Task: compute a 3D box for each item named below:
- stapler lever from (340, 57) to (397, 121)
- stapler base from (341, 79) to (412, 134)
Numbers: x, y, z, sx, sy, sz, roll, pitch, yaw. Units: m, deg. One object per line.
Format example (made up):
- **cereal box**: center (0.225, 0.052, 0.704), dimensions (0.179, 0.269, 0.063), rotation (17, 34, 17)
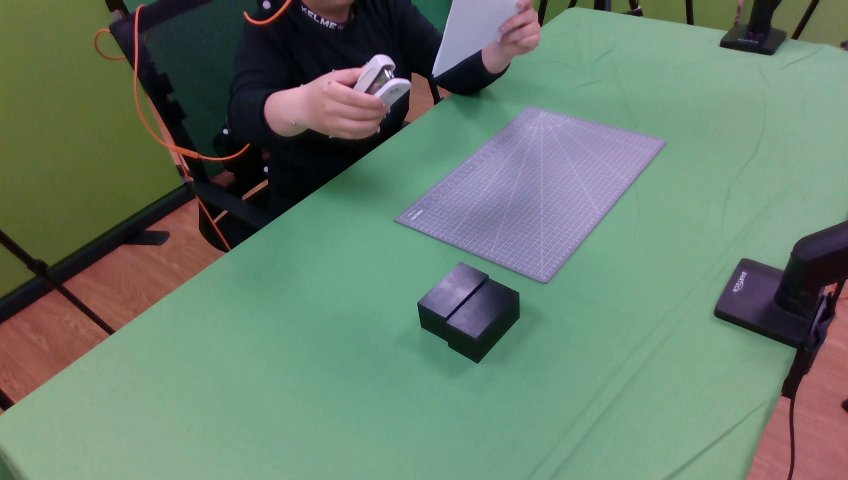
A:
- **stapler lever**: center (-0.081, -0.213, 0.859), dimensions (0.027, 0.117, 0.040), rotation (-8, 71, -47)
- **stapler base**: center (-0.071, -0.192, 0.853), dimensions (0.041, 0.130, 0.024), rotation (-8, 70, -47)
